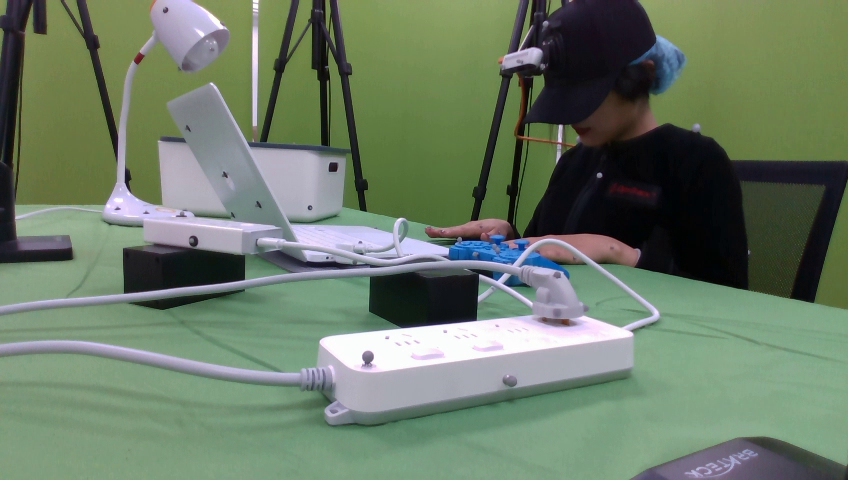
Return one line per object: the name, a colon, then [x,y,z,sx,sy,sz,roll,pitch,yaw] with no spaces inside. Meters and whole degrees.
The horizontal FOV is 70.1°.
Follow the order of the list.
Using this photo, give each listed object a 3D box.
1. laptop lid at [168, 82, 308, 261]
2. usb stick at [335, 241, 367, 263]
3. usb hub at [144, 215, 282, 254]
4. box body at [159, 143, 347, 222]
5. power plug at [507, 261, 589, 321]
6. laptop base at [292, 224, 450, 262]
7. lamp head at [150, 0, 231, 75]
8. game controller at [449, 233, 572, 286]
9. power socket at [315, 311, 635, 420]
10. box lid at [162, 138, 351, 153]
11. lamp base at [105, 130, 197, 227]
laptop lid: [-0.273,-0.094,0.845,0.013,0.242,0.355,-33,24,-22]
usb stick: [-0.093,0.015,0.742,0.021,0.027,0.059,-4,1,-34]
usb hub: [-0.200,-0.006,0.573,0.125,0.025,0.050,6,7,22]
box body: [-0.384,-0.137,1.407,0.364,0.160,0.254,3,8,7]
power plug: [0.091,0.043,0.444,0.035,0.052,0.072,-1,5,-18]
laptop base: [-0.127,0.002,0.946,0.237,0.023,0.352,2,6,-31]
lamp head: [-0.432,-0.374,1.086,0.123,0.112,0.112,42,8,-2]
game controller: [0.101,0.021,0.760,0.097,0.051,0.154,-7,11,-30]
power socket: [0.039,0.072,0.385,0.228,0.032,0.072,-2,7,-29]
box lid: [-0.371,-0.215,1.394,0.371,0.015,0.263,4,8,7]
lamp base: [-0.532,-0.120,1.153,0.179,0.180,0.161,1,7,8]
